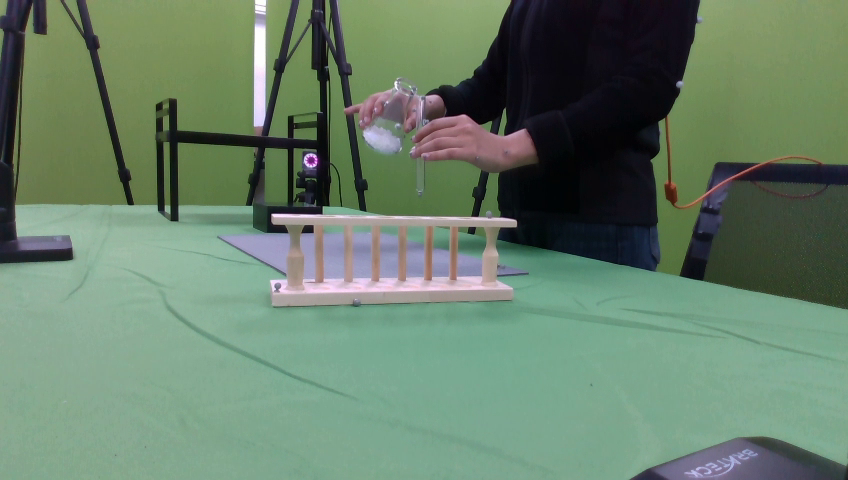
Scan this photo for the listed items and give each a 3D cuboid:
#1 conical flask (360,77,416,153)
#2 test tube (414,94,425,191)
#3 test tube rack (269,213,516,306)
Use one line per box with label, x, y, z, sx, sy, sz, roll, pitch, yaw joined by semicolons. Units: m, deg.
conical flask;-0.054;-0.211;1.008;0.075;0.121;0.075;18;39;-15
test tube;-0.007;-0.152;0.938;0.017;0.150;0.017;0;-2;0
test tube rack;-0.032;0.015;0.617;0.243;0.085;0.066;0;8;-17
